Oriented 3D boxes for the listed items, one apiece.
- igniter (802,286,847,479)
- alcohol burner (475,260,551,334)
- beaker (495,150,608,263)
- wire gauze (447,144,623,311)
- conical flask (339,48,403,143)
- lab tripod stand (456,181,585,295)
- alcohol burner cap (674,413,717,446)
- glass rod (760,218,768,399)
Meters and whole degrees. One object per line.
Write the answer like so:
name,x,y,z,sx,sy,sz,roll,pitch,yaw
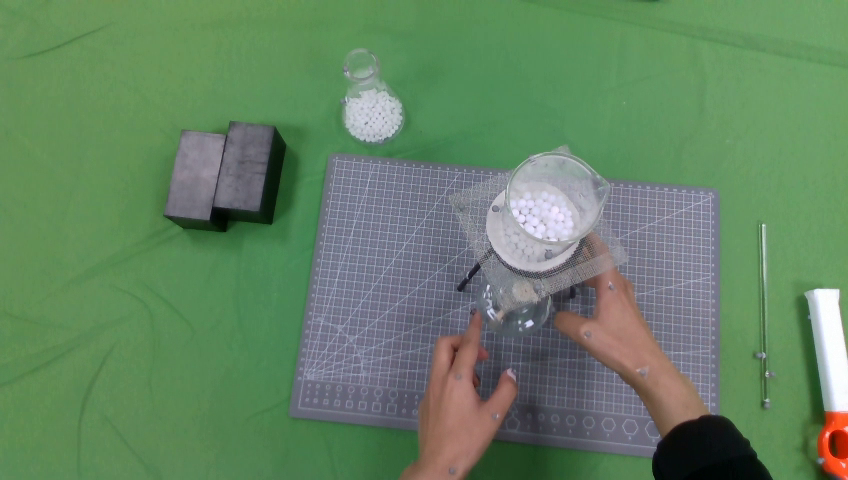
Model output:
igniter,0.428,0.184,0.625,0.057,0.025,0.275,2,77,-9
alcohol burner,0.092,0.055,0.612,0.078,0.119,0.077,0,76,0
beaker,0.100,-0.023,0.503,0.084,0.100,0.073,-15,78,-3
wire gauze,0.100,-0.013,0.550,0.125,0.011,0.121,-23,81,-6
conical flask,-0.063,-0.162,0.662,0.075,0.122,0.075,0,76,1
lab tripod stand,0.100,0.007,0.613,0.148,0.132,0.147,0,78,1
alcohol burner cap,0.278,0.193,0.614,0.034,0.048,0.033,0,76,1
glass rod,0.371,0.071,0.660,0.008,0.008,0.199,6,78,2
